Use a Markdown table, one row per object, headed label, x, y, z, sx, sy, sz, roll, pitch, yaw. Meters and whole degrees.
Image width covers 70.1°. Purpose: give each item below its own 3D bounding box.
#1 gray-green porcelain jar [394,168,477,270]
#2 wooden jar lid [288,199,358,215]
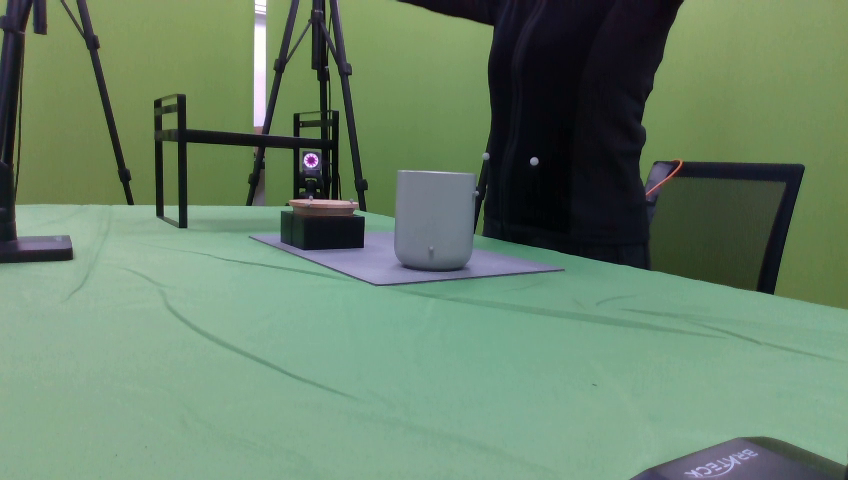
| label | x | y | z | sx | sy | sz | roll | pitch | yaw |
| --- | --- | --- | --- | --- | --- | --- | --- | --- | --- |
| gray-green porcelain jar | 0.014 | -0.029 | 0.793 | 0.106 | 0.126 | 0.106 | 2 | 7 | 0 |
| wooden jar lid | -0.158 | -0.053 | 0.950 | 0.108 | 0.020 | 0.108 | 3 | 8 | 0 |
